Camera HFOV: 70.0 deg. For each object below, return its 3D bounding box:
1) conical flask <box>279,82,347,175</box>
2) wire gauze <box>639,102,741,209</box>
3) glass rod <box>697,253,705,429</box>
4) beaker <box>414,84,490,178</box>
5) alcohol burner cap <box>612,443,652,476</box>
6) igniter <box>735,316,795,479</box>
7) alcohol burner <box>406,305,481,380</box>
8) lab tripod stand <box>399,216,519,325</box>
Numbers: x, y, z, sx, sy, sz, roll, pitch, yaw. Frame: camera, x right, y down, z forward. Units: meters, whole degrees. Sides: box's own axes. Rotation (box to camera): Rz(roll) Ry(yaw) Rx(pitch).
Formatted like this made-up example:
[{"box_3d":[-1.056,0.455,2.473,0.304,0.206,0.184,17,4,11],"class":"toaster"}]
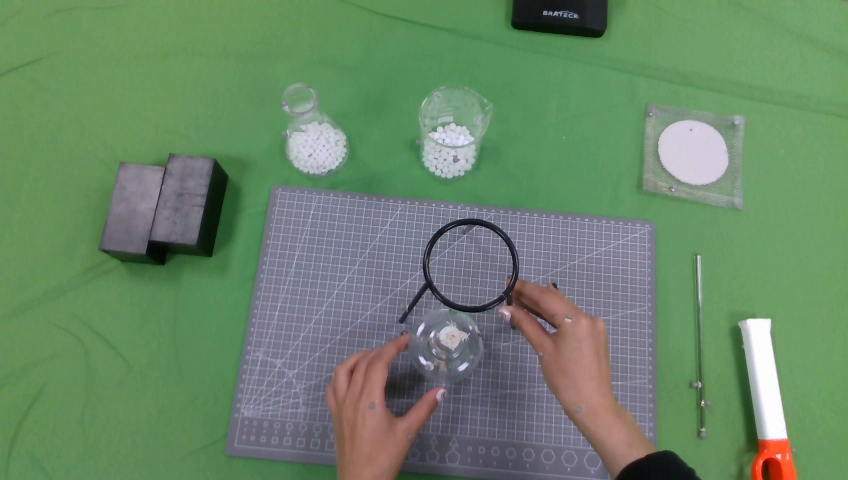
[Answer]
[{"box_3d":[-0.128,-0.126,0.666,0.075,0.122,0.075,0,74,-1],"class":"conical flask"},{"box_3d":[0.323,-0.106,0.735,0.125,0.011,0.121,10,76,-1],"class":"wire gauze"},{"box_3d":[0.310,0.109,0.678,0.008,0.008,0.198,8,73,0],"class":"glass rod"},{"box_3d":[0.030,-0.119,0.682,0.084,0.100,0.073,-20,76,-8],"class":"beaker"},{"box_3d":[0.216,0.226,0.620,0.034,0.048,0.033,1,74,-2],"class":"alcohol burner cap"},{"box_3d":[0.365,0.218,0.638,0.057,0.025,0.275,2,75,-12],"class":"igniter"},{"box_3d":[0.021,0.101,0.611,0.078,0.119,0.077,1,73,-2],"class":"alcohol burner"},{"box_3d":[0.039,0.040,0.618,0.148,0.132,0.147,0,77,-1],"class":"lab tripod stand"}]
